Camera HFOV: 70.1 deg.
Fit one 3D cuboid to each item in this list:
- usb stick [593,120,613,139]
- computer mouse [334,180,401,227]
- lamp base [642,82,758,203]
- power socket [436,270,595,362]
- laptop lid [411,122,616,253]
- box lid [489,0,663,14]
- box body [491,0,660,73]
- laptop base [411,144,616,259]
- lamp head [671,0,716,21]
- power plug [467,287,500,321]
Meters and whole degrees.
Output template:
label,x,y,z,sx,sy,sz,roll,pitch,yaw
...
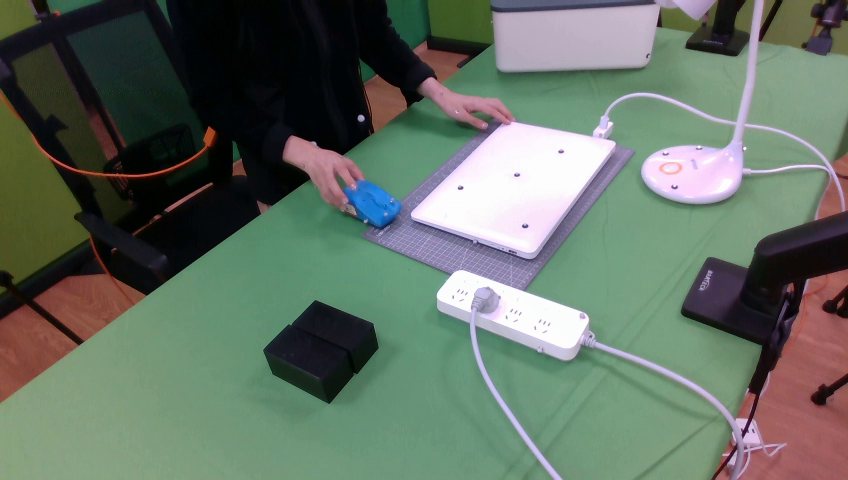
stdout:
label,x,y,z,sx,sy,sz,roll,pitch,yaw
usb stick,0.336,-0.201,1.147,0.021,0.027,0.059,26,53,27
computer mouse,-0.098,-0.066,1.033,0.116,0.041,0.063,28,52,28
lamp base,0.464,-0.174,0.992,0.179,0.181,0.159,-5,41,-1
power socket,0.118,0.101,0.832,0.225,0.033,0.072,19,48,27
laptop lid,0.165,-0.111,1.067,0.240,0.013,0.357,19,46,31
box lid,0.341,-0.576,1.380,0.371,0.015,0.262,0,41,10
box body,0.347,-0.521,1.429,0.363,0.161,0.253,1,41,9
laptop base,0.168,-0.102,1.073,0.234,0.023,0.355,17,45,31
lamp head,0.375,-0.373,0.807,0.122,0.113,0.112,-40,27,32
power plug,0.073,0.092,0.814,0.035,0.053,0.073,29,54,34
